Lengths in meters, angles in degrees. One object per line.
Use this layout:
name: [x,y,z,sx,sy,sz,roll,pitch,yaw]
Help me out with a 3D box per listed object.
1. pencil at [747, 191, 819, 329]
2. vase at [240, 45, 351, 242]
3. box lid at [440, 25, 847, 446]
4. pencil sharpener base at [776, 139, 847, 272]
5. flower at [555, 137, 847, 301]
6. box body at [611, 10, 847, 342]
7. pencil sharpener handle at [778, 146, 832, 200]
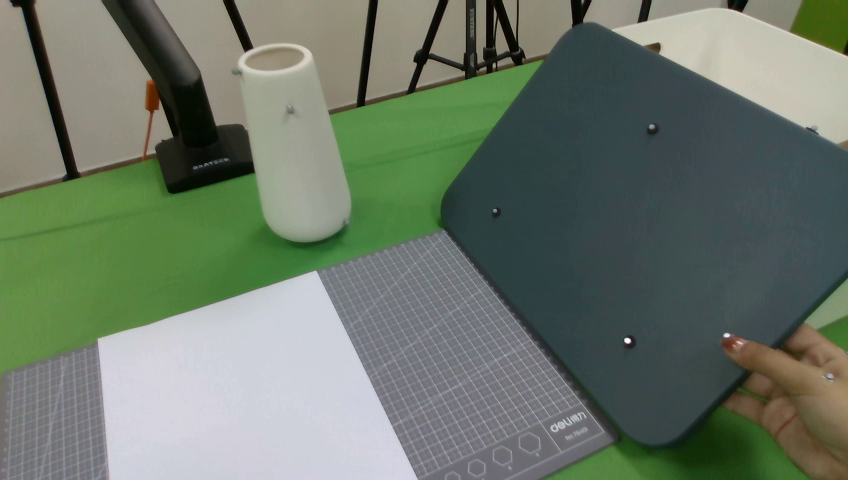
pencil: [0.368,0.014,0.625,0.012,0.012,0.192,1,45,4]
vase: [-0.135,-0.095,0.635,0.098,0.202,0.097,-3,40,2]
box lid: [0.170,-0.032,0.546,0.015,0.263,0.367,25,18,-42]
pencil sharpener base: [0.409,-0.035,0.596,0.061,0.108,0.076,-19,43,-20]
flower: [0.298,-0.025,0.668,0.358,0.038,0.044,35,16,29]
box body: [0.329,-0.089,0.632,0.254,0.162,0.359,-18,43,-17]
pencil sharpener handle: [0.387,-0.073,0.623,0.036,0.068,0.030,-24,44,-15]
